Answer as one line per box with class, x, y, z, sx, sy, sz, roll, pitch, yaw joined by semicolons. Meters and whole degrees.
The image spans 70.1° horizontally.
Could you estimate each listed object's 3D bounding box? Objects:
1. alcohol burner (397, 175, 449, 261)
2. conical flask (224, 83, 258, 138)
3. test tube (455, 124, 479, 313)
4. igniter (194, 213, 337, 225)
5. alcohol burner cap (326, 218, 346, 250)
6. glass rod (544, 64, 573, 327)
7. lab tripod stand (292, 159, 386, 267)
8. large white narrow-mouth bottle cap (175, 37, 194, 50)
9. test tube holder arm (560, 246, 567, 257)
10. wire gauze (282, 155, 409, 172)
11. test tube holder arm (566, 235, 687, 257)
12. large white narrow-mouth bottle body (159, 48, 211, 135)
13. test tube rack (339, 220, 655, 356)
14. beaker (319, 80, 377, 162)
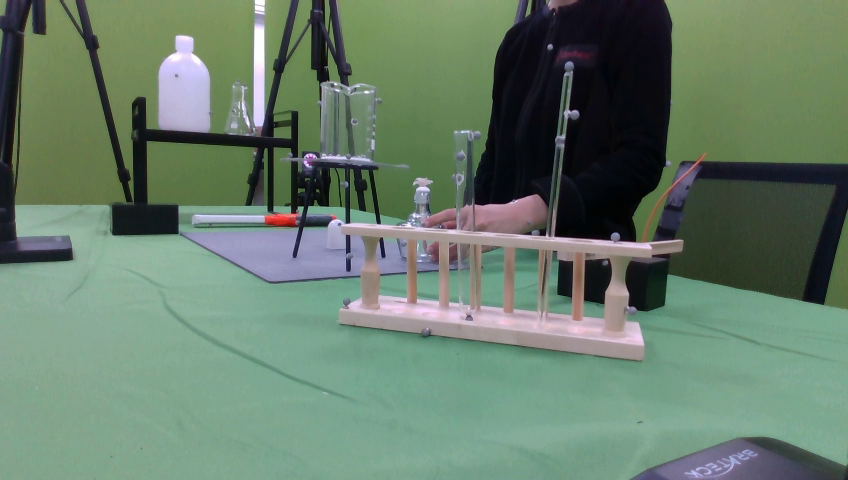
alcohol burner;-0.002;-0.031;0.846;0.078;0.119;0.078;0;6;0
conical flask;-0.422;-0.299;1.395;0.075;0.122;0.075;2;7;0
test tube;0.034;-0.015;0.477;0.017;0.150;0.017;-2;9;1
igniter;-0.306;-0.042;1.196;0.278;0.025;0.057;-2;-2;-31
alcohol burner cap;-0.133;-0.010;0.927;0.034;0.048;0.034;6;7;0
glass rod;0.101;-0.028;0.453;0.008;0.199;0.008;2;13;0
lab tripod stand;-0.105;-0.039;0.797;0.148;0.131;0.148;2;5;0
large white narrow-mouth bottle cap;-0.501;-0.410;1.264;0.038;0.024;0.037;2;7;0
test tube holder arm;0.173;0.007;0.611;0.088;0.015;0.010;-3;9;-30
wire gauze;-0.104;-0.103;0.785;0.126;0.011;0.121;1;8;-39
test tube holder arm;0.215;0.006;0.630;0.179;0.015;0.013;-3;9;-31
large white narrow-mouth bottle body;-0.503;-0.323;1.275;0.102;0.194;0.102;2;7;0
test tube rack;0.056;0.032;0.495;0.242;0.085;0.067;4;7;15
beaker;-0.098;-0.150;0.777;0.074;0.100;0.084;1;7;-7
